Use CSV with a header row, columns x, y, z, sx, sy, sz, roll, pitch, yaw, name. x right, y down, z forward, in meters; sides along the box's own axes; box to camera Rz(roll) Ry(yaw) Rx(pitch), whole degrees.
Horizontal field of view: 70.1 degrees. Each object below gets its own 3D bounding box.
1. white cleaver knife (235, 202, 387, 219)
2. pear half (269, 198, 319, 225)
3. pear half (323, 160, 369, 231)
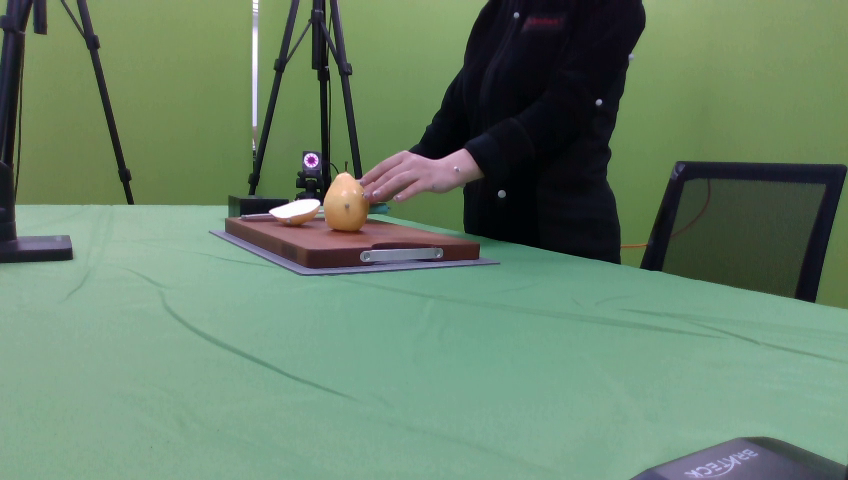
x,y,z,sx,sy,sz,roll,pitch,yaw,name
-0.196,-0.053,1.104,0.288,0.021,0.065,-4,1,-33,white cleaver knife
-0.212,-0.042,0.995,0.088,0.031,0.070,-10,19,20,pear half
-0.114,-0.068,0.938,0.056,0.110,0.076,6,12,27,pear half
